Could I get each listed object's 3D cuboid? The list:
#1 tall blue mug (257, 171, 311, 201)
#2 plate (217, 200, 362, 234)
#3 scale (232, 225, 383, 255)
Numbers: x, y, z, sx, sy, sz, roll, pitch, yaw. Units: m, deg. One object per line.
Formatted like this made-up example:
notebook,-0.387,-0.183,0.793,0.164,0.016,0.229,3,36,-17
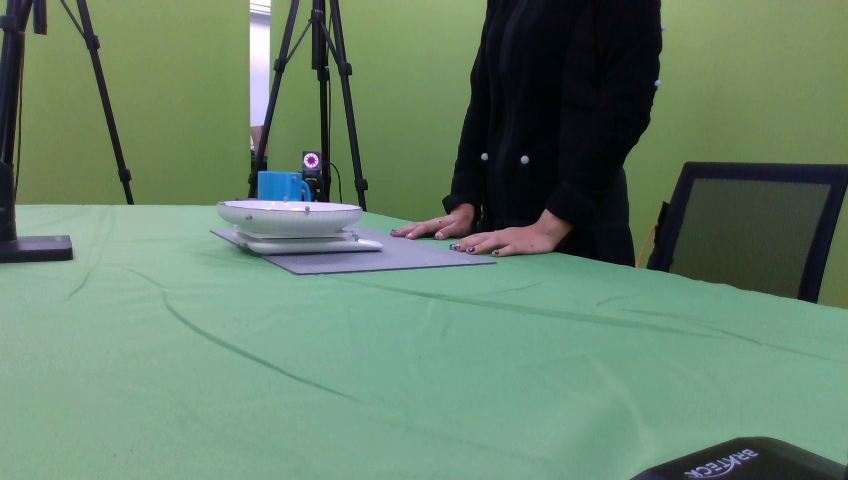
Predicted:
tall blue mug,-0.259,-0.070,1.107,0.078,0.108,0.107,2,7,5
plate,-0.196,-0.035,0.894,0.209,0.038,0.209,2,7,0
scale,-0.177,-0.004,0.920,0.202,0.031,0.148,-1,9,-30
